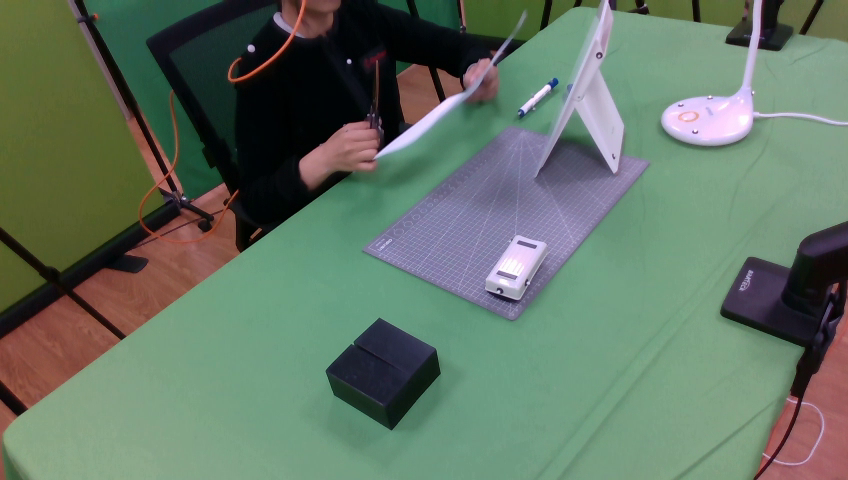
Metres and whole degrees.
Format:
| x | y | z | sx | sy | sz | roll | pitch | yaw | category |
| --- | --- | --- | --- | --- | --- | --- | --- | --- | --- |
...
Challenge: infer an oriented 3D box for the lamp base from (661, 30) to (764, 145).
| x | y | z | sx | sy | sz | roll | pitch | yaw | category |
| --- | --- | --- | --- | --- | --- | --- | --- | --- | --- |
| 0.535 | -0.287 | 1.096 | 0.179 | 0.181 | 0.159 | -10 | 40 | -4 | lamp base |

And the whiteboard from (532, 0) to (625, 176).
| x | y | z | sx | sy | sz | roll | pitch | yaw | category |
| --- | --- | --- | --- | --- | --- | --- | --- | --- | --- |
| 0.320 | -0.259 | 1.050 | 0.144 | 0.306 | 0.217 | 21 | 45 | 5 | whiteboard |

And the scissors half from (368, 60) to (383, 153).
| x | y | z | sx | sy | sz | roll | pitch | yaw | category |
| --- | --- | --- | --- | --- | --- | --- | --- | --- | --- |
| -0.082 | -0.233 | 1.069 | 0.013 | 0.175 | 0.040 | -18 | 41 | -30 | scissors half |

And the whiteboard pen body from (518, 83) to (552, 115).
| x | y | z | sx | sy | sz | roll | pitch | yaw | category |
| --- | --- | --- | --- | --- | --- | --- | --- | --- | --- |
| 0.242 | -0.307 | 1.289 | 0.017 | 0.017 | 0.141 | 24 | 53 | 33 | whiteboard pen body |

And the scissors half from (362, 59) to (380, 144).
| x | y | z | sx | sy | sz | roll | pitch | yaw | category |
| --- | --- | --- | --- | --- | --- | --- | --- | --- | --- |
| -0.092 | -0.246 | 1.080 | 0.013 | 0.175 | 0.039 | -13 | 54 | -27 | scissors half |

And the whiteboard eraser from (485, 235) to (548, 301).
| x | y | z | sx | sy | sz | roll | pitch | yaw | category |
| --- | --- | --- | --- | --- | --- | --- | --- | --- | --- |
| 0.137 | 0.042 | 0.887 | 0.055 | 0.042 | 0.113 | 15 | 45 | 27 | whiteboard eraser |

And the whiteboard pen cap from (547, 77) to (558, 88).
| x | y | z | sx | sy | sz | roll | pitch | yaw | category |
| --- | --- | --- | --- | --- | --- | --- | --- | --- | --- |
| 0.279 | -0.341 | 1.321 | 0.018 | 0.018 | 0.033 | 22 | 52 | 31 | whiteboard pen cap |
